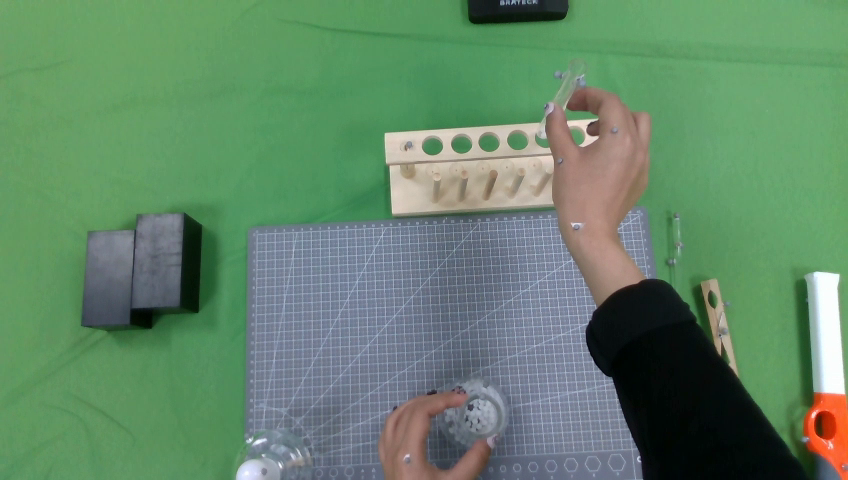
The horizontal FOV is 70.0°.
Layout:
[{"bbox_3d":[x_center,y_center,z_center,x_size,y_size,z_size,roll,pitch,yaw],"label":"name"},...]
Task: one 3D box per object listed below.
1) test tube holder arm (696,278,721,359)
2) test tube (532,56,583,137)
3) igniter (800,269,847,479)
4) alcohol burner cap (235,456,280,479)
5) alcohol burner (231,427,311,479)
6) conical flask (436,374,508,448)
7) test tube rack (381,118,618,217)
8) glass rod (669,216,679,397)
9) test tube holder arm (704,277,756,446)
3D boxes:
[{"bbox_3d":[0.310,0.085,0.655,0.010,0.015,0.087,-17,76,34],"label":"test tube holder arm"},{"bbox_3d":[0.116,-0.123,0.539,0.017,0.150,0.017,0,80,0],"label":"test tube"},{"bbox_3d":[0.417,0.167,0.629,0.057,0.025,0.275,6,77,-8],"label":"igniter"},{"bbox_3d":[-0.150,0.207,0.539,0.034,0.048,0.033,0,67,1],"label":"alcohol burner cap"},{"bbox_3d":[-0.149,0.218,0.573,0.078,0.120,0.077,-1,75,3],"label":"alcohol burner"},{"bbox_3d":[0.049,0.165,0.580,0.075,0.122,0.075,0,76,1],"label":"conical flask"},{"bbox_3d":[0.079,-0.076,0.659,0.242,0.085,0.066,-4,77,-1],"label":"test tube rack"},{"bbox_3d":[0.273,0.070,0.662,0.008,0.008,0.199,3,79,1],"label":"glass rod"},{"bbox_3d":[0.322,0.126,0.642,0.013,0.015,0.177,-19,74,33],"label":"test tube holder arm"}]
